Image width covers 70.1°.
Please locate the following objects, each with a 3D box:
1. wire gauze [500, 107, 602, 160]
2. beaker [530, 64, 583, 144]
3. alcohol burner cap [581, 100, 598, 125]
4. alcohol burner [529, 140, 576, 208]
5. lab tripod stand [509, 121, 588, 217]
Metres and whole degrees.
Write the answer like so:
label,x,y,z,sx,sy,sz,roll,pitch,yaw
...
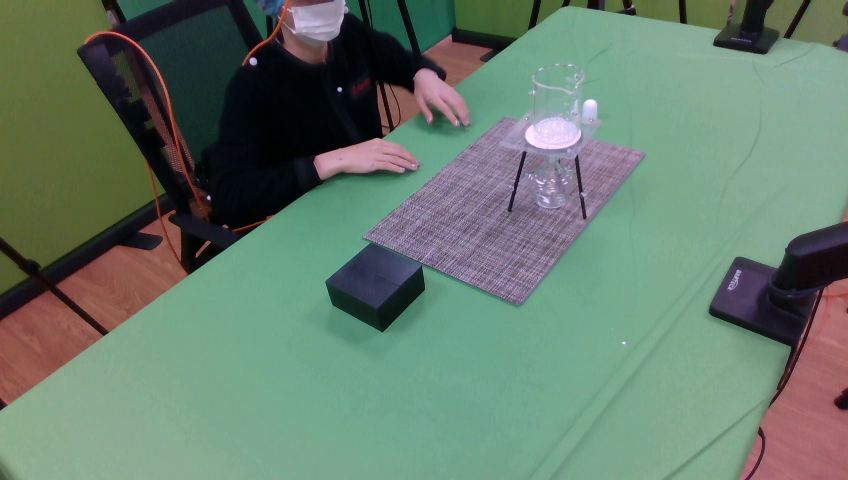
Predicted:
label,x,y,z,sx,sy,sz,roll,pitch,yaw
wire gauze,0.199,-0.166,0.945,0.120,0.011,0.125,17,50,28
beaker,0.201,-0.201,0.909,0.074,0.101,0.083,-19,43,-10
alcohol burner cap,0.331,-0.258,1.210,0.034,0.048,0.033,-5,41,4
alcohol burner,0.211,-0.112,0.995,0.078,0.119,0.077,-6,41,6
lab tripod stand,0.208,-0.114,0.983,0.148,0.132,0.147,-5,42,5
